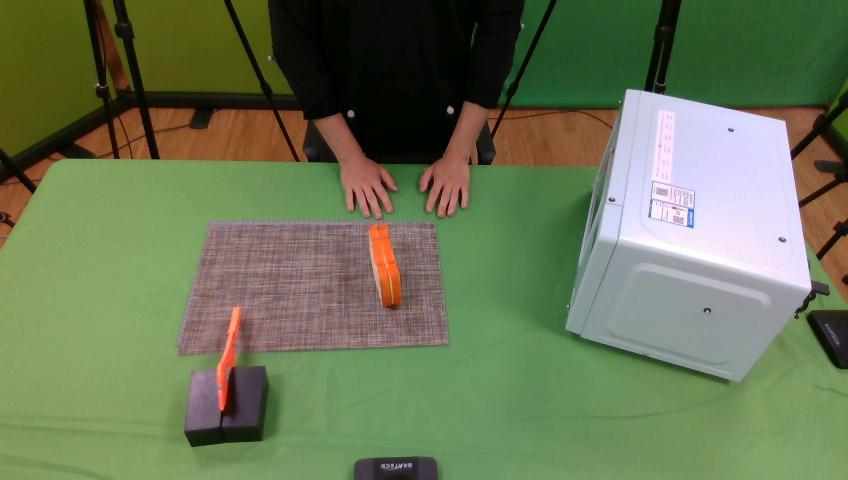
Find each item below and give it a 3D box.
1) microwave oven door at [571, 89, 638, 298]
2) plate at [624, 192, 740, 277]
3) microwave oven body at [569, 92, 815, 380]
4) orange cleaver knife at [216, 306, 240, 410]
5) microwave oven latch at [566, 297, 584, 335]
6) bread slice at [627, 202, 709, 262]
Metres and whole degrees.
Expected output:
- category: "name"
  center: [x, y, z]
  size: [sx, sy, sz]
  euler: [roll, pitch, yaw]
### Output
- category: "microwave oven door"
  center: [0.343, -0.091, 1.133]
  size: [0.039, 0.245, 0.354]
  euler: [15, 47, 10]
- category: "plate"
  center: [0.481, -0.007, 1.143]
  size: [0.208, 0.039, 0.206]
  euler: [0, 48, 0]
- category: "microwave oven body"
  center: [0.468, -0.021, 1.082]
  size: [0.325, 0.261, 0.440]
  euler: [15, 46, 11]
- category: "orange cleaver knife"
  center: [-0.307, 0.180, 0.957]
  size: [0.012, 0.077, 0.210]
  euler: [-2, 25, -8]
- category: "microwave oven latch"
  center: [0.268, 0.126, 1.059]
  size: [0.030, 0.029, 0.079]
  euler: [16, 46, 12]
- category: "bread slice"
  center: [0.474, -0.022, 1.166]
  size: [0.134, 0.018, 0.106]
  euler: [-29, 54, -15]
